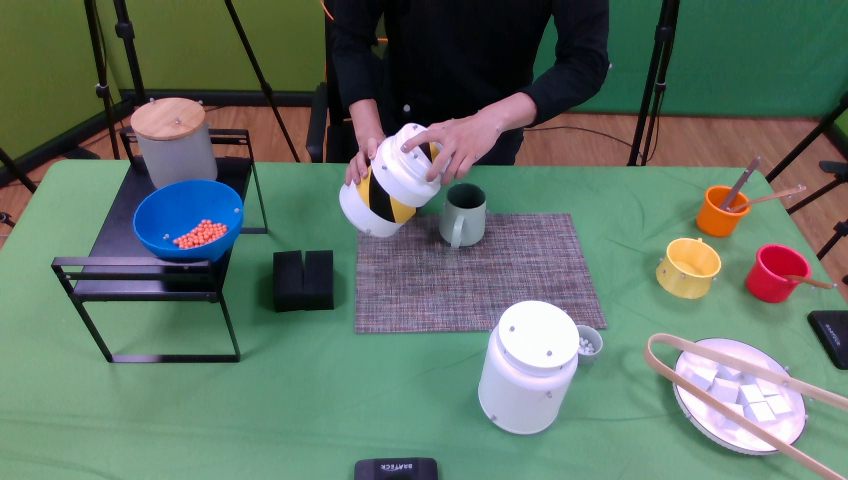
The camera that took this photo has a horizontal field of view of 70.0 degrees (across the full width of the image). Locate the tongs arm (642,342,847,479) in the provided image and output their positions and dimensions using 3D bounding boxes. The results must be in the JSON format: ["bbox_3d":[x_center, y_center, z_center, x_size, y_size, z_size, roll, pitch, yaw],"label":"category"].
[{"bbox_3d":[0.504,0.279,0.918,0.386,0.028,0.028,33,59,22],"label":"tongs arm"}]

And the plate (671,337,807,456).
[{"bbox_3d":[0.504,0.254,0.984,0.208,0.039,0.206,2,46,-2],"label":"plate"}]

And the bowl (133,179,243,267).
[{"bbox_3d":[-0.339,-0.013,0.895,0.151,0.077,0.150,2,46,-2],"label":"bowl"}]

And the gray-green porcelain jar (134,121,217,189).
[{"bbox_3d":[-0.397,-0.141,0.979,0.106,0.127,0.105,2,47,-2],"label":"gray-green porcelain jar"}]

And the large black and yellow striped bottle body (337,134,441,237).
[{"bbox_3d":[-0.054,-0.105,1.083,0.131,0.184,0.130,30,38,-27],"label":"large black and yellow striped bottle body"}]

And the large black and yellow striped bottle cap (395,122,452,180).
[{"bbox_3d":[0.001,-0.153,1.035,0.115,0.019,0.114,31,38,-28],"label":"large black and yellow striped bottle cap"}]

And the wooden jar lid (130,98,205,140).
[{"bbox_3d":[-0.393,-0.183,0.934,0.108,0.021,0.107,2,43,-2],"label":"wooden jar lid"}]

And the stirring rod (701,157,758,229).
[{"bbox_3d":[0.634,-0.096,1.257,0.014,0.006,0.176,38,97,30],"label":"stirring rod"}]

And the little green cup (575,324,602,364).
[{"bbox_3d":[0.269,0.180,1.036,0.061,0.039,0.061,2,45,-2],"label":"little green cup"}]

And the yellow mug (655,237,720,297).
[{"bbox_3d":[0.509,0.041,1.167,0.099,0.064,0.130,24,48,18],"label":"yellow mug"}]

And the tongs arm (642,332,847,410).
[{"bbox_3d":[0.546,0.227,0.968,0.384,0.026,0.050,22,52,13],"label":"tongs arm"}]

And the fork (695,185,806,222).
[{"bbox_3d":[0.658,-0.074,1.229,0.207,0.019,0.028,-23,36,37],"label":"fork"}]

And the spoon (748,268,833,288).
[{"bbox_3d":[0.660,0.068,1.097,0.041,0.193,0.021,-4,91,-6],"label":"spoon"}]

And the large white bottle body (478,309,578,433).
[{"bbox_3d":[0.156,0.192,0.913,0.131,0.185,0.130,2,46,-2],"label":"large white bottle body"}]

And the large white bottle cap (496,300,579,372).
[{"bbox_3d":[0.160,0.133,0.852,0.115,0.018,0.114,3,46,-3],"label":"large white bottle cap"}]

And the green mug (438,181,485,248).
[{"bbox_3d":[0.071,-0.039,1.177,0.092,0.105,0.124,12,47,7],"label":"green mug"}]
